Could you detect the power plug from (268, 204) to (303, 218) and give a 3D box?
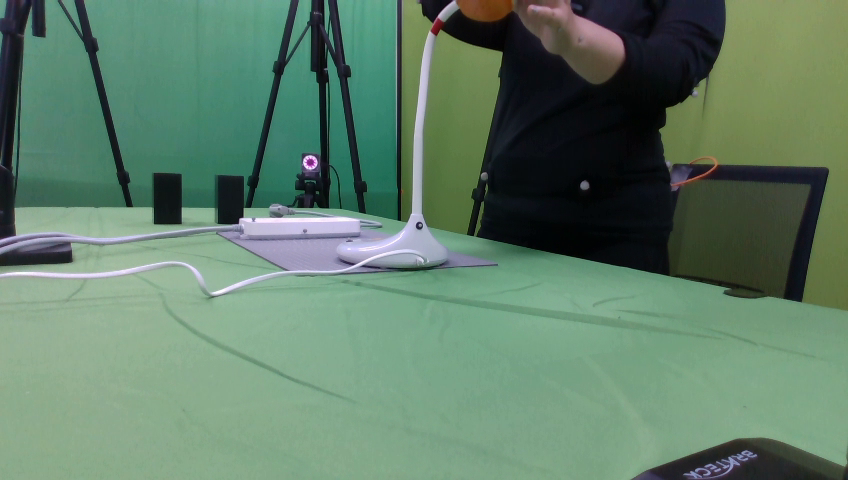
[{"bbox_3d":[-0.327,-0.060,1.404,0.073,0.035,0.052,22,-14,-26],"label":"power plug"}]

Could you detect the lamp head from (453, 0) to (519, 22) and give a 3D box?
[{"bbox_3d":[0.071,-0.319,0.705,0.112,0.122,0.112,8,-2,1],"label":"lamp head"}]

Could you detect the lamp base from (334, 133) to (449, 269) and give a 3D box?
[{"bbox_3d":[-0.034,-0.057,0.831,0.161,0.180,0.178,-2,12,-36],"label":"lamp base"}]

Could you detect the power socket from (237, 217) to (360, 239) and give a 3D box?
[{"bbox_3d":[-0.221,-0.023,1.080,0.228,0.032,0.072,-2,8,-32],"label":"power socket"}]
